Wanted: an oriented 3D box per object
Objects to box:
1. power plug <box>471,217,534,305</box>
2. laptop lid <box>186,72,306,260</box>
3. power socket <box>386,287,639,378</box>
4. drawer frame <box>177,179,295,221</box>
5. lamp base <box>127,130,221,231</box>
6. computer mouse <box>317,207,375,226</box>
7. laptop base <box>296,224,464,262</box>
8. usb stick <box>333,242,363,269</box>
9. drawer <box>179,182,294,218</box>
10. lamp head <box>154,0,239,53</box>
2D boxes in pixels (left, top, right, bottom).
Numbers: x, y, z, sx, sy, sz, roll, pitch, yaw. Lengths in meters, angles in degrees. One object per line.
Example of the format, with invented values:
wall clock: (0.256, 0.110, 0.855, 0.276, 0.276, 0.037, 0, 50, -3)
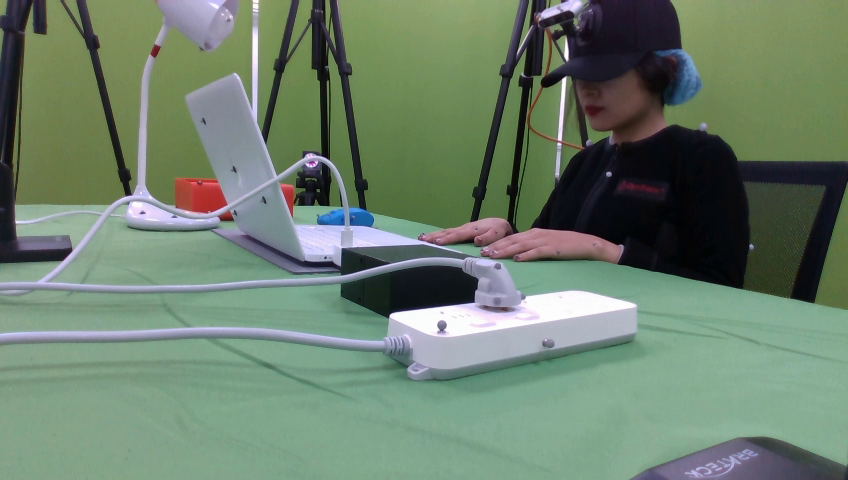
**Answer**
power plug: (0.055, 0.014, 0.454, 0.035, 0.072, 0.052, -22, -1, -40)
laptop lid: (-0.263, -0.102, 0.852, 0.013, 0.242, 0.355, -25, 20, -25)
power socket: (0.075, 0.064, 0.461, 0.228, 0.032, 0.072, -4, 8, -34)
drawer frame: (-0.422, -0.092, 1.352, 0.215, 0.082, 0.200, -3, 10, -32)
lamp base: (-0.469, -0.112, 1.108, 0.179, 0.180, 0.160, 0, 7, 3)
computer mouse: (-0.163, -0.048, 1.264, 0.118, 0.041, 0.062, -6, 12, -29)
laptop base: (-0.127, 0.002, 0.947, 0.237, 0.023, 0.352, 2, 6, -30)
usb stick: (-0.096, 0.017, 0.743, 0.021, 0.027, 0.059, -4, 10, -31)
drawer: (-0.420, -0.091, 1.354, 0.213, 0.073, 0.193, -3, 10, -31)
lamp head: (-0.406, -0.402, 1.059, 0.123, 0.112, 0.112, 25, 5, -6)
